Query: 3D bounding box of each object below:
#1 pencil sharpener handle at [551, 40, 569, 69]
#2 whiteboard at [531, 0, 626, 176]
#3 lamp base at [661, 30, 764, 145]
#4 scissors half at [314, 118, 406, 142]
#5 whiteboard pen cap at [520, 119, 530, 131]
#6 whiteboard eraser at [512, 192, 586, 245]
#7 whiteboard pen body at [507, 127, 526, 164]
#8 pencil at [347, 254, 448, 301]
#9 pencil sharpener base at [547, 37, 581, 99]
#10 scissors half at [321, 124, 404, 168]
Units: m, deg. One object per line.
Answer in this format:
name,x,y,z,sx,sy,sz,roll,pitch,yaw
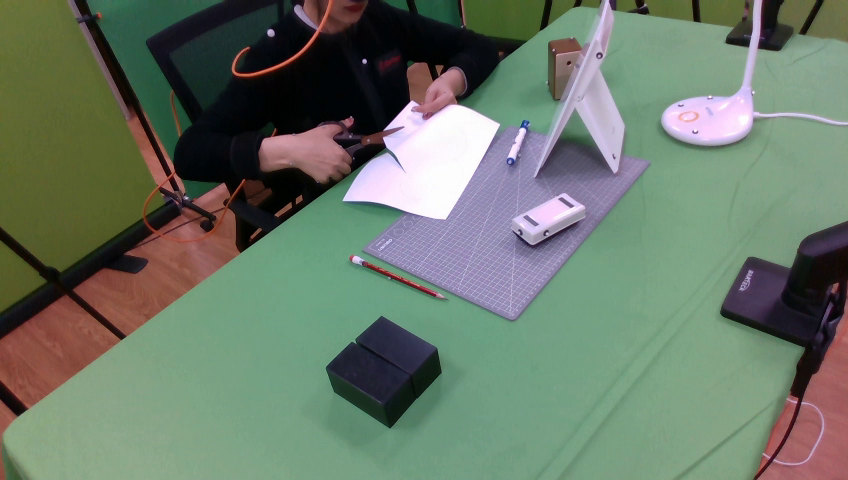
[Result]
pencil sharpener handle,0.291,-0.409,1.321,0.036,0.068,0.030,2,40,-6
whiteboard,0.320,-0.258,1.050,0.144,0.306,0.217,22,45,5
lamp base,0.535,-0.287,1.096,0.179,0.181,0.159,-10,40,-4
scissors half,-0.121,-0.206,1.162,0.176,0.040,0.013,6,28,-12
whiteboard pen cap,0.200,-0.226,1.204,0.018,0.018,0.033,6,42,18
whiteboard eraser,0.199,-0.032,0.962,0.113,0.042,0.055,-27,43,-20
whiteboard pen body,0.181,-0.189,1.163,0.017,0.017,0.140,7,42,19
pencil,-0.044,0.058,0.933,0.192,0.012,0.012,22,49,28
pencil sharpener base,0.300,-0.368,1.290,0.061,0.107,0.076,-8,40,2
scissors half,-0.118,-0.185,1.173,0.175,0.040,0.012,-27,25,5
